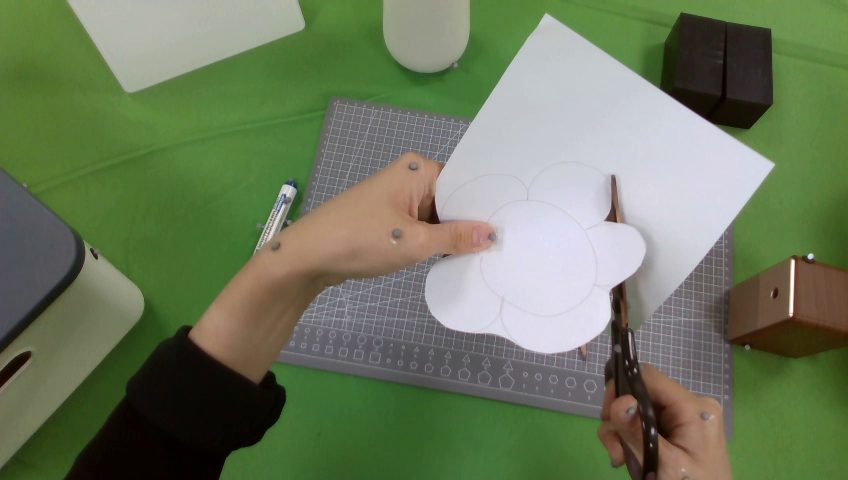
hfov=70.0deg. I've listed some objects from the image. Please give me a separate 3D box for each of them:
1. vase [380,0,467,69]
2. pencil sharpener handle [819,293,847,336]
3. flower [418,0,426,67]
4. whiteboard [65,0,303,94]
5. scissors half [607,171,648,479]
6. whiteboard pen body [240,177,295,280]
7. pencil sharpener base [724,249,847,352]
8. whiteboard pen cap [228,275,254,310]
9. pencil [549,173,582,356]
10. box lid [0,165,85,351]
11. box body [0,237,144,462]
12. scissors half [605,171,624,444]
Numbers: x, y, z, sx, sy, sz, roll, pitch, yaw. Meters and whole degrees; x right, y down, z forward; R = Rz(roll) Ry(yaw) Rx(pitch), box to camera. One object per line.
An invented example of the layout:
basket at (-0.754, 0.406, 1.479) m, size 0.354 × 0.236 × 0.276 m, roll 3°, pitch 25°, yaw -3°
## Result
vase at (-0.001, -0.267, 0.618) m, size 0.098 × 0.201 × 0.097 m, roll 0°, pitch 69°, yaw 0°
pencil sharpener handle at (0.389, 0.069, 0.544) m, size 0.030 × 0.068 × 0.035 m, roll 13°, pitch 64°, yaw 1°
flower at (-0.005, -0.310, 0.545) m, size 0.044 × 0.365 × 0.038 m, roll 3°, pitch 52°, yaw 4°
whiteboard at (-0.285, -0.347, 0.617) m, size 0.217 × 0.308 × 0.142 m, roll -24°, pitch 53°, yaw -9°
scissors half at (0.112, 0.049, 0.340) m, size 0.013 × 0.040 × 0.175 m, roll -5°, pitch 91°, yaw 4°
whiteboard pen body at (-0.162, -0.002, 0.615) m, size 0.017 × 0.017 × 0.140 m, roll 16°, pitch 69°, yaw 5°
pencil sharpener base at (0.339, 0.060, 0.556) m, size 0.077 × 0.107 × 0.061 m, roll 13°, pitch 70°, yaw 1°
whiteboard pen cap at (-0.178, 0.050, 0.593) m, size 0.018 × 0.018 × 0.033 m, roll 15°, pitch 66°, yaw 5°
pencil at (0.145, 0.021, 0.617) m, size 0.012 × 0.012 × 0.192 m, roll -4°, pitch 72°, yaw -2°
box lid at (-0.470, -0.003, 0.453) m, size 0.370 × 0.015 × 0.262 m, roll 35°, pitch 73°, yaw 11°
box body at (-0.469, 0.024, 0.522) m, size 0.362 × 0.161 × 0.253 m, roll 35°, pitch 73°, yaw 11°
scissors half at (0.115, 0.044, 0.361) m, size 0.013 × 0.040 × 0.176 m, roll -4°, pitch 112°, yaw 9°
